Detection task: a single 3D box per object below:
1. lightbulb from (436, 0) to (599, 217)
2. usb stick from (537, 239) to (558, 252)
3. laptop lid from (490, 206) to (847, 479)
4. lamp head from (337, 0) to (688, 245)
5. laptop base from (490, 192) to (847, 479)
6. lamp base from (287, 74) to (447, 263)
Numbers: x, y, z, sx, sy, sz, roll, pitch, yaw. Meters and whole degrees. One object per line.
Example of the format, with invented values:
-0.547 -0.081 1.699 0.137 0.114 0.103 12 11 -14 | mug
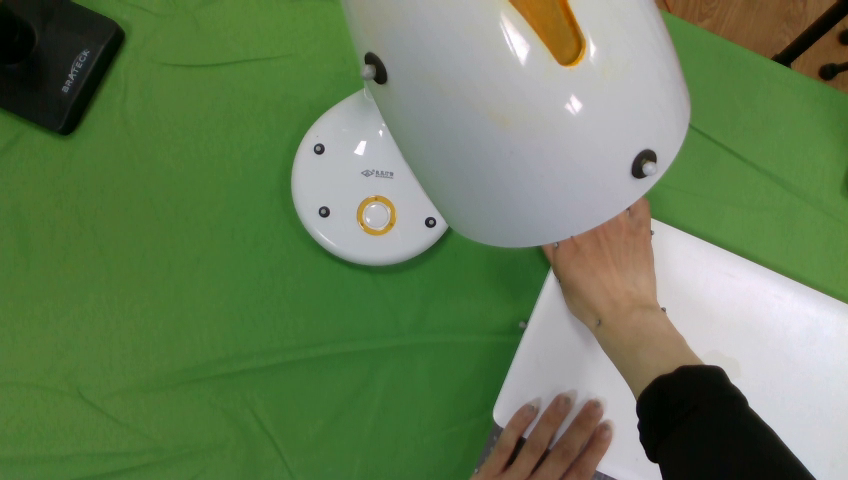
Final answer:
0.032 -0.054 0.232 0.059 0.109 0.059 -14 48 17 | lightbulb
0.108 -0.015 0.571 0.021 0.027 0.059 -41 90 -13 | usb stick
0.262 0.127 0.557 0.357 0.013 0.241 25 84 1 | laptop lid
0.021 -0.076 0.215 0.112 0.111 0.124 -47 129 -7 | lamp head
0.263 0.126 0.569 0.354 0.023 0.235 23 85 0 | laptop base
-0.046 -0.080 0.496 0.161 0.180 0.178 -7 81 -3 | lamp base
